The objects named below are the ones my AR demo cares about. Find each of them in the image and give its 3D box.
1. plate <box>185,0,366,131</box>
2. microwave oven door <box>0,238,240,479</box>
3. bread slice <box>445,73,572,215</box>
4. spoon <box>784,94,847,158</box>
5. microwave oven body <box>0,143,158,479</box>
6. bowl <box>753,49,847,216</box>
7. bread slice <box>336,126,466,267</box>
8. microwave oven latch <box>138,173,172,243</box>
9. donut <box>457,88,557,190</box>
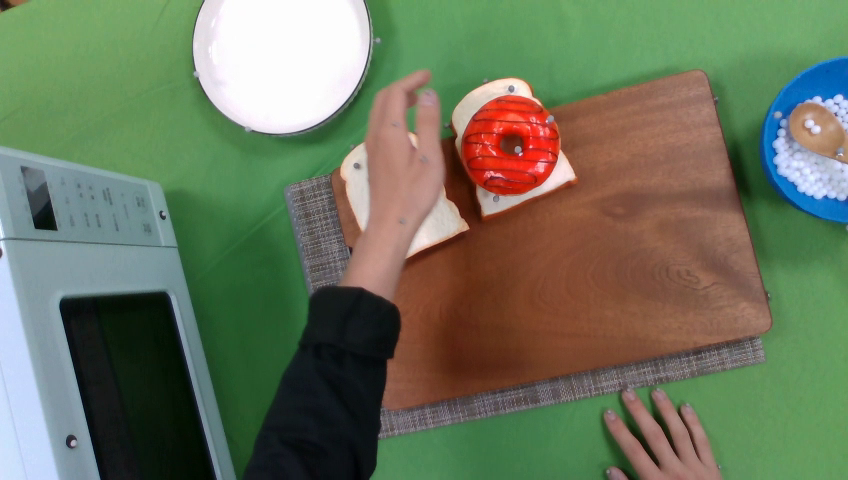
[{"bbox_3d":[-0.163,-0.224,0.680,0.207,0.039,0.207,0,89,9],"label":"plate"},{"bbox_3d":[-0.269,0.174,0.570,0.039,0.244,0.355,-17,86,9],"label":"microwave oven door"},{"bbox_3d":[0.078,-0.103,0.622,0.105,0.019,0.131,-24,85,7],"label":"bread slice"},{"bbox_3d":[0.400,-0.059,0.538,0.041,0.022,0.192,-40,66,11],"label":"spoon"},{"bbox_3d":[-0.419,0.174,0.598,0.326,0.260,0.441,-16,87,8],"label":"microwave oven body"},{"bbox_3d":[0.381,-0.094,0.573,0.151,0.077,0.151,0,89,9],"label":"bowl"},{"bbox_3d":[-0.033,-0.051,0.637,0.107,0.018,0.134,-28,85,7],"label":"bread slice"},{"bbox_3d":[-0.310,-0.034,0.682,0.030,0.029,0.079,-15,87,8],"label":"microwave oven latch"},{"bbox_3d":[0.081,-0.098,0.592,0.099,0.048,0.099,0,90,9],"label":"donut"}]
